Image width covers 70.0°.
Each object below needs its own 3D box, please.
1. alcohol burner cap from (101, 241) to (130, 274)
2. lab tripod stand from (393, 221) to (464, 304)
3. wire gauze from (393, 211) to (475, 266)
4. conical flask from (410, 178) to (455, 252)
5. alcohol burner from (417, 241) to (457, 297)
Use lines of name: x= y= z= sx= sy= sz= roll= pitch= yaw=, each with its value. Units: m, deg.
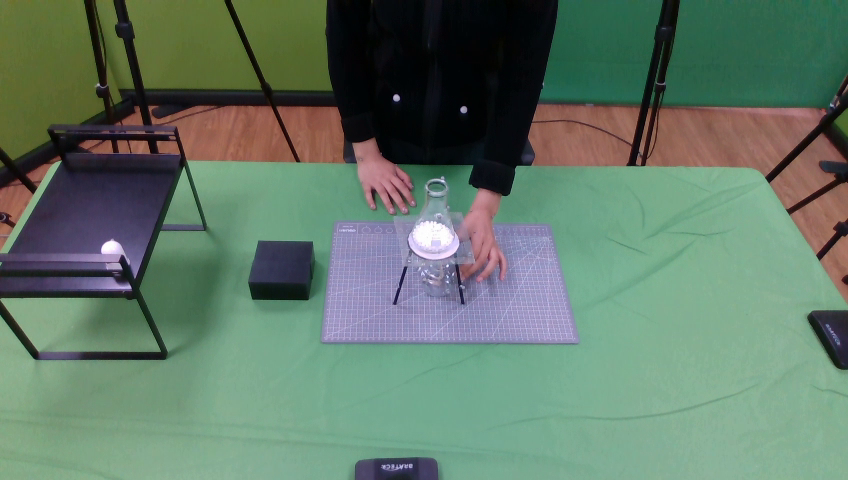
alcohol burner cap: x=-0.449 y=0.022 z=0.878 sx=0.034 sy=0.048 sz=0.033 roll=2 pitch=45 yaw=-2
lab tripod stand: x=0.010 y=0.045 z=1.075 sx=0.148 sy=0.132 sz=0.147 roll=2 pitch=48 yaw=-2
wire gauze: x=0.015 y=-0.002 z=1.029 sx=0.125 sy=0.011 sz=0.120 roll=-6 pitch=45 yaw=-6
conical flask: x=0.017 y=-0.043 z=0.986 sx=0.075 sy=0.122 sz=0.075 roll=2 pitch=47 yaw=-2
alcohol burner: x=0.026 y=0.046 z=1.089 sx=0.078 sy=0.120 sz=0.077 roll=1 pitch=47 yaw=-1
